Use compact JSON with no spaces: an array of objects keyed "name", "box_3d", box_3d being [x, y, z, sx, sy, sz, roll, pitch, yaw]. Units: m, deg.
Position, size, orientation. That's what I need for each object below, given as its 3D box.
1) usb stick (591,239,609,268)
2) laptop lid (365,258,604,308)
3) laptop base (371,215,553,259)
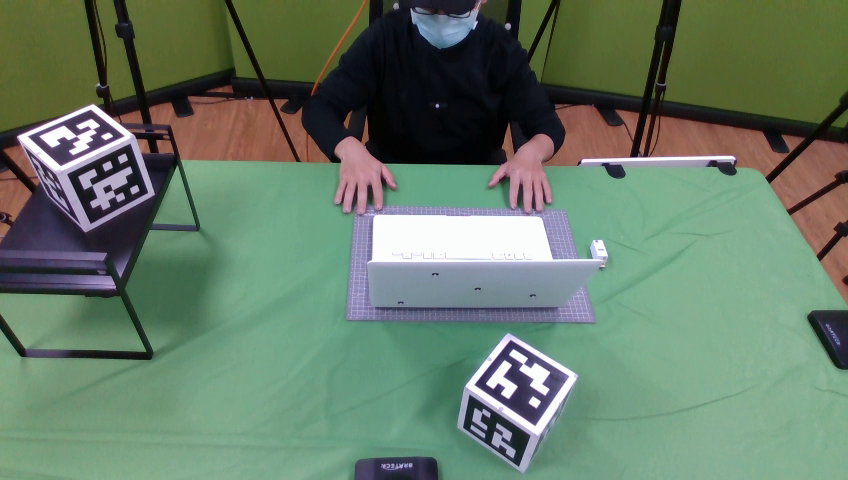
[{"name":"usb stick","box_3d":[0.347,0.028,1.188,0.021,0.027,0.059,4,48,-6]},{"name":"laptop lid","box_3d":[0.085,0.074,0.978,0.357,0.242,0.013,1,67,-5]},{"name":"laptop base","box_3d":[0.075,0.037,1.167,0.355,0.023,0.234,0,43,-4]}]
